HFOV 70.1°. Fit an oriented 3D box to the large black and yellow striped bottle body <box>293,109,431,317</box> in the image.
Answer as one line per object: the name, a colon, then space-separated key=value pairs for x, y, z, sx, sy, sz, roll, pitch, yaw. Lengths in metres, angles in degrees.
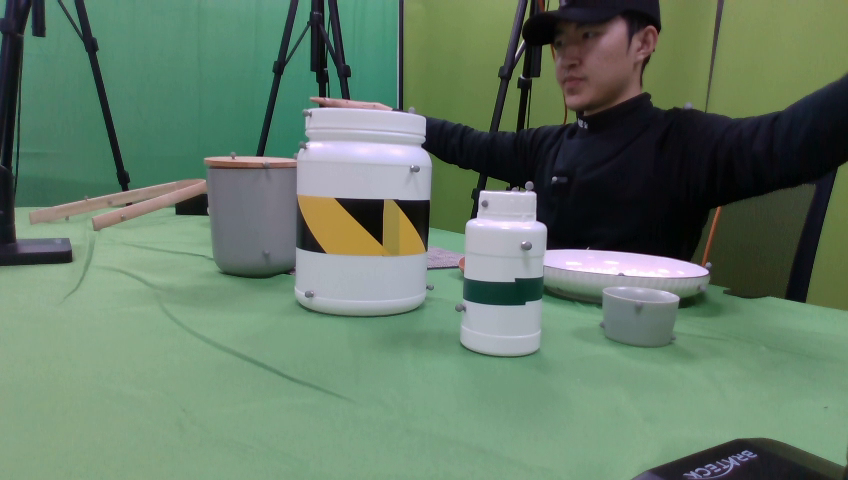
large black and yellow striped bottle body: x=-0.060 y=-0.028 z=0.585 sx=0.131 sy=0.184 sz=0.130 roll=2 pitch=7 yaw=0

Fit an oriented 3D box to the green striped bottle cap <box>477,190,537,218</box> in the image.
green striped bottle cap: x=0.062 y=-0.027 z=0.453 sx=0.044 sy=0.020 sz=0.044 roll=2 pitch=4 yaw=0

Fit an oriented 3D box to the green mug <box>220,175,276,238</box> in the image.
green mug: x=-0.310 y=-0.060 z=1.051 sx=0.093 sy=0.105 sz=0.124 roll=-2 pitch=8 yaw=-31

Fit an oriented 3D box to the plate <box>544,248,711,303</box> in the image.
plate: x=0.219 y=0.041 z=0.706 sx=0.209 sy=0.038 sz=0.209 roll=2 pitch=7 yaw=0

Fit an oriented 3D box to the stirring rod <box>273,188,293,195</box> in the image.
stirring rod: x=-0.353 y=-0.122 z=1.519 sx=0.006 sy=0.014 sz=0.176 roll=1 pitch=7 yaw=2

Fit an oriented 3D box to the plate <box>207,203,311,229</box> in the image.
plate: x=-0.342 y=-0.050 z=1.259 sx=0.208 sy=0.039 sz=0.207 roll=2 pitch=7 yaw=0

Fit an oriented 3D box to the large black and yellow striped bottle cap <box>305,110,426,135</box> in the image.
large black and yellow striped bottle cap: x=-0.055 y=-0.110 z=0.574 sx=0.115 sy=0.019 sz=0.115 roll=1 pitch=7 yaw=0

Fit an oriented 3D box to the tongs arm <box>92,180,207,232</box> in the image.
tongs arm: x=-0.534 y=-0.076 z=1.221 sx=0.028 sy=0.028 sz=0.388 roll=-2 pitch=15 yaw=12

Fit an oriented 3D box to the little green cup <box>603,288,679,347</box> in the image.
little green cup: x=0.180 y=0.064 z=0.505 sx=0.061 sy=0.038 sz=0.061 roll=2 pitch=7 yaw=0

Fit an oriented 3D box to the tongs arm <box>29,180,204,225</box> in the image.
tongs arm: x=-0.609 y=-0.083 z=1.245 sx=0.050 sy=0.026 sz=0.386 roll=5 pitch=16 yaw=23

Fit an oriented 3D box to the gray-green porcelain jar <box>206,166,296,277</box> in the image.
gray-green porcelain jar: x=-0.201 y=-0.024 z=0.724 sx=0.106 sy=0.126 sz=0.106 roll=-1 pitch=9 yaw=1

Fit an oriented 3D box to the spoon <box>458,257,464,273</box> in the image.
spoon: x=0.059 y=0.044 z=0.696 sx=0.041 sy=0.021 sz=0.194 roll=21 pitch=7 yaw=0

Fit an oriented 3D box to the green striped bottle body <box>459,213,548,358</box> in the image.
green striped bottle body: x=0.061 y=0.024 z=0.460 sx=0.063 sy=0.119 sz=0.063 roll=2 pitch=8 yaw=0

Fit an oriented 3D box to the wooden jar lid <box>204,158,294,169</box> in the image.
wooden jar lid: x=-0.202 y=-0.086 z=0.714 sx=0.108 sy=0.020 sz=0.108 roll=3 pitch=11 yaw=0
